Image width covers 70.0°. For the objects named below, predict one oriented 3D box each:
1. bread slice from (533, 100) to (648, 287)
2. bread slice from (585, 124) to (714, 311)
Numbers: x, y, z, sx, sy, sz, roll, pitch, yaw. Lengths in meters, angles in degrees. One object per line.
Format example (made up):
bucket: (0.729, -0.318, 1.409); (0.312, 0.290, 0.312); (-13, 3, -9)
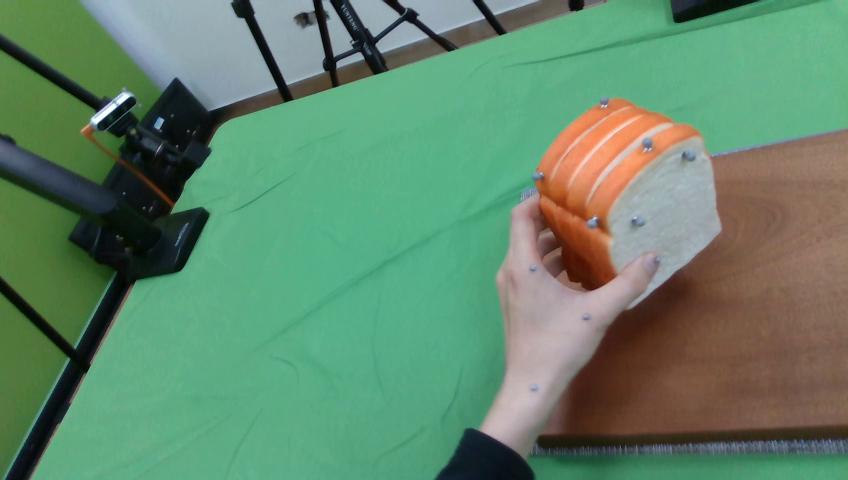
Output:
bread slice: (0.139, -0.038, 0.466); (0.107, 0.136, 0.018); (-38, 39, -10)
bread slice: (0.161, -0.015, 0.429); (0.105, 0.133, 0.019); (-40, 45, -6)
